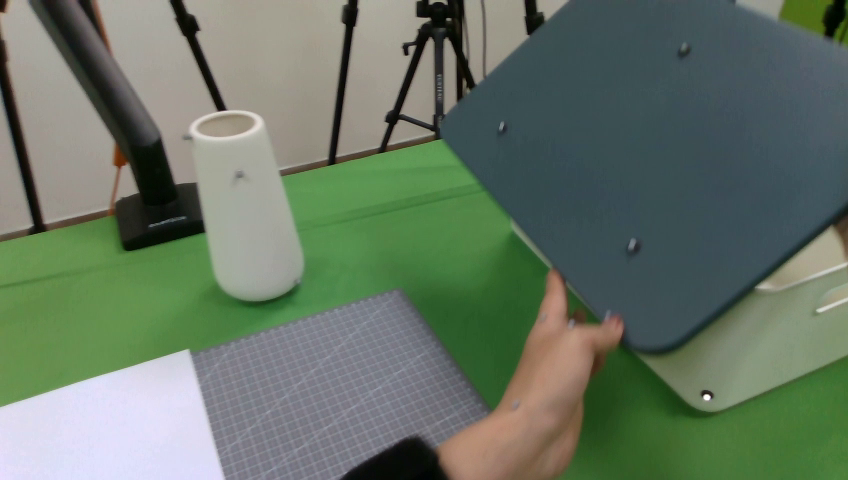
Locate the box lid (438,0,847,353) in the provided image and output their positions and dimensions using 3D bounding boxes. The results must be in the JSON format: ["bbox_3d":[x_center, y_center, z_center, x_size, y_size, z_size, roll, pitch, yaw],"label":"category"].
[{"bbox_3d":[0.176,-0.100,0.520,0.263,0.015,0.367,-41,43,7],"label":"box lid"}]

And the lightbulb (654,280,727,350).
[{"bbox_3d":[0.263,0.069,0.614,0.059,0.060,0.107,-2,19,-1],"label":"lightbulb"}]

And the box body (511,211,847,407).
[{"bbox_3d":[0.281,-0.020,0.654,0.255,0.162,0.360,-15,38,-19],"label":"box body"}]

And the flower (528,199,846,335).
[{"bbox_3d":[0.287,0.028,0.702,0.359,0.038,0.044,25,37,25],"label":"flower"}]

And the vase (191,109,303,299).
[{"bbox_3d":[-0.189,-0.033,0.646,0.098,0.202,0.097,-1,35,1],"label":"vase"}]
